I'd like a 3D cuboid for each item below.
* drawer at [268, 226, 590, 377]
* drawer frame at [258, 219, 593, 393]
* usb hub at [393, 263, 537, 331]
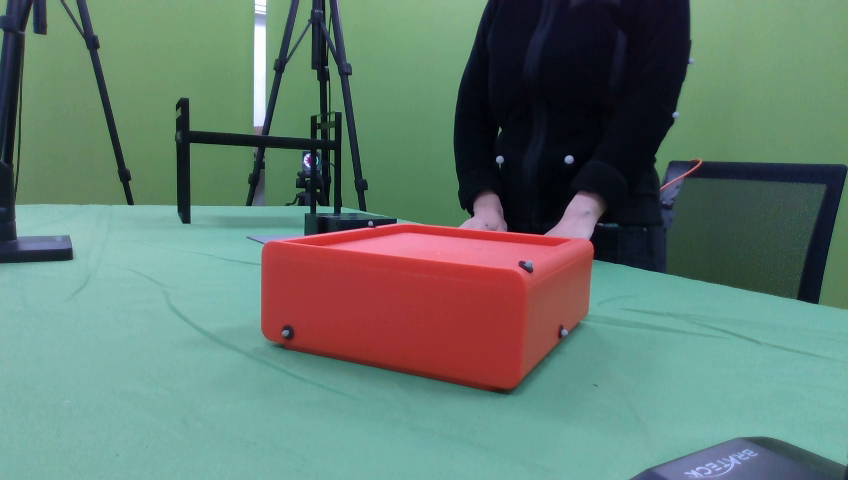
[{"bbox_3d":[0.015,0.037,0.493,0.194,0.073,0.212,7,8,25],"label":"drawer"},{"bbox_3d":[0.015,0.036,0.492,0.201,0.082,0.214,6,9,24],"label":"drawer frame"},{"bbox_3d":[0.033,0.047,0.533,0.124,0.025,0.050,16,14,39],"label":"usb hub"}]
